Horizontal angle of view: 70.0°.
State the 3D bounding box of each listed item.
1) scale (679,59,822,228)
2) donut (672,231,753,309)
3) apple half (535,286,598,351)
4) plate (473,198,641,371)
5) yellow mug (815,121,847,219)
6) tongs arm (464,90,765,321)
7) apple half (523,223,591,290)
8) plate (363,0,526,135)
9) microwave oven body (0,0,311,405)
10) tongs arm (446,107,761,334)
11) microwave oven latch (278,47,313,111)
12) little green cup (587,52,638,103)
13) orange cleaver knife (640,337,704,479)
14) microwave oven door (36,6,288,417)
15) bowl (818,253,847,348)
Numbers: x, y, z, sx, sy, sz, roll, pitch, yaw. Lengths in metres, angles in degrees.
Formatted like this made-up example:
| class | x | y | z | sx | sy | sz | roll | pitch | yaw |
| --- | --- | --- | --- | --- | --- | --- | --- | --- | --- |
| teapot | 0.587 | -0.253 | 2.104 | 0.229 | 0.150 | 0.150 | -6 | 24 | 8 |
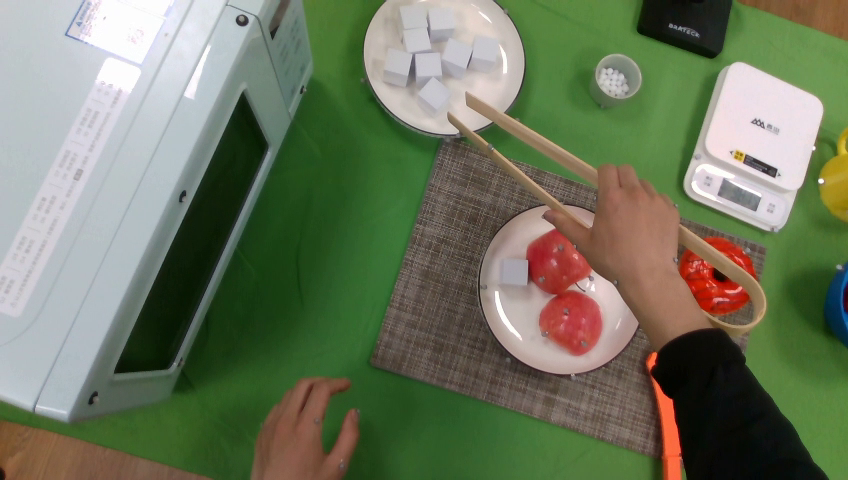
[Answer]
| class | x | y | z | sx | sy | sz | roll | pitch | yaw |
| --- | --- | --- | --- | --- | --- | --- | --- | --- | --- |
| scale | 0.437 | -0.130 | 0.810 | 0.149 | 0.031 | 0.200 | 23 | 80 | -2 |
| donut | 0.362 | 0.038 | 0.765 | 0.099 | 0.048 | 0.098 | 1 | 81 | -4 |
| apple half | 0.178 | 0.091 | 0.732 | 0.081 | 0.033 | 0.081 | 1 | 81 | -3 |
| plate | 0.161 | 0.054 | 0.743 | 0.209 | 0.038 | 0.208 | 1 | 81 | -6 |
| yellow mug | 0.583 | -0.096 | 0.803 | 0.100 | 0.064 | 0.130 | -14 | 82 | -8 |
| tongs arm | 0.183 | -0.051 | 0.635 | 0.384 | 0.028 | 0.028 | 40 | 72 | 22 |
| apple half | 0.164 | 0.016 | 0.733 | 0.081 | 0.053 | 0.074 | -25 | 81 | -10 |
| plate | 0.026 | -0.231 | 0.777 | 0.208 | 0.039 | 0.207 | 1 | 81 | -6 |
| microwave oven body | -0.351 | -0.106 | 0.598 | 0.326 | 0.260 | 0.440 | 21 | 80 | -3 |
| tongs arm | 0.167 | -0.036 | 0.630 | 0.051 | 0.027 | 0.381 | -40 | 67 | -12 |
| microwave oven latch | -0.160 | -0.199 | 0.732 | 0.030 | 0.029 | 0.079 | 24 | 80 | -2 |
| little green cup | 0.245 | -0.212 | 0.798 | 0.061 | 0.039 | 0.061 | 1 | 80 | -6 |
| orange cleaver knife | 0.308 | 0.225 | 0.742 | 0.077 | 0.012 | 0.210 | 1 | 80 | -11 |
| microwave oven door | -0.230 | -0.015 | 0.591 | 0.039 | 0.244 | 0.354 | 21 | 79 | -2 |
| bowl | 0.562 | 0.081 | 0.767 | 0.151 | 0.077 | 0.151 | 1 | 81 | -6 |
